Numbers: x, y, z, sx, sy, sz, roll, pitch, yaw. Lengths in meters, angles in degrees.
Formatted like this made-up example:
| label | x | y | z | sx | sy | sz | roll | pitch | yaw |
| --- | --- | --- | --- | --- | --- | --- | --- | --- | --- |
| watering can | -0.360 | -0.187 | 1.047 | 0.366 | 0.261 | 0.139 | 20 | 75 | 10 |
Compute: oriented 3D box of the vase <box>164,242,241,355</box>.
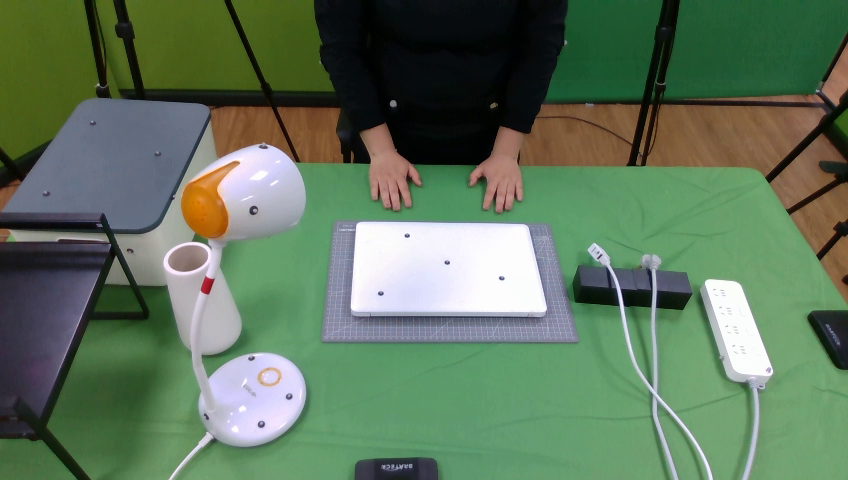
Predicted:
| label | x | y | z | sx | sy | sz | roll | pitch | yaw |
| --- | --- | --- | --- | --- | --- | --- | --- | --- | --- |
| vase | -0.349 | 0.096 | 0.954 | 0.098 | 0.201 | 0.097 | 3 | 47 | -3 |

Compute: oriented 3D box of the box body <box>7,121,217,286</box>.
| label | x | y | z | sx | sy | sz | roll | pitch | yaw |
| --- | --- | --- | --- | --- | --- | --- | --- | --- | --- |
| box body | -0.560 | -0.092 | 1.145 | 0.254 | 0.161 | 0.361 | 3 | 46 | -2 |

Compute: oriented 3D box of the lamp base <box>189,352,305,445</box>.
| label | x | y | z | sx | sy | sz | roll | pitch | yaw |
| --- | --- | --- | --- | --- | --- | --- | --- | --- | --- |
| lamp base | -0.268 | 0.196 | 0.876 | 0.160 | 0.181 | 0.179 | 26 | 52 | 20 |

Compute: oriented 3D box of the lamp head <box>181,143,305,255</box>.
| label | x | y | z | sx | sy | sz | roll | pitch | yaw |
| --- | --- | --- | --- | --- | --- | --- | --- | --- | --- |
| lamp head | -0.216 | -0.044 | 0.697 | 0.112 | 0.113 | 0.123 | 23 | 31 | 17 |

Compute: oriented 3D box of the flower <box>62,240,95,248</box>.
| label | x | y | z | sx | sy | sz | roll | pitch | yaw |
| --- | --- | --- | --- | --- | --- | --- | --- | --- | --- |
| flower | -0.557 | -0.053 | 1.195 | 0.044 | 0.038 | 0.361 | 47 | 54 | 2 |

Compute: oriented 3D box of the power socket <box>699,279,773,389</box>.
| label | x | y | z | sx | sy | sz | roll | pitch | yaw |
| --- | --- | --- | --- | --- | --- | --- | --- | --- | --- |
| power socket | 0.551 | 0.157 | 1.081 | 0.072 | 0.033 | 0.225 | 4 | 47 | 1 |

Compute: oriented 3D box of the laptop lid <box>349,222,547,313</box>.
| label | x | y | z | sx | sy | sz | roll | pitch | yaw |
| --- | --- | --- | --- | --- | --- | --- | --- | --- | --- |
| laptop lid | 0.041 | 0.046 | 1.143 | 0.357 | 0.013 | 0.240 | 2 | 43 | -3 |

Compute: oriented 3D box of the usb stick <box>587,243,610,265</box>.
| label | x | y | z | sx | sy | sz | roll | pitch | yaw |
| --- | --- | --- | --- | --- | --- | --- | --- | --- | --- |
| usb stick | 0.335 | 0.024 | 1.172 | 0.027 | 0.021 | 0.059 | 33 | 16 | -13 |

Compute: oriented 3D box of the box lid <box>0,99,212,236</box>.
| label | x | y | z | sx | sy | sz | roll | pitch | yaw |
| --- | --- | --- | --- | --- | --- | --- | --- | --- | --- |
| box lid | -0.555 | -0.143 | 1.090 | 0.263 | 0.015 | 0.369 | 2 | 46 | -1 |

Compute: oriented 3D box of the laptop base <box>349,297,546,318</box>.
| label | x | y | z | sx | sy | sz | roll | pitch | yaw |
| --- | --- | --- | --- | --- | --- | --- | --- | --- | --- |
| laptop base | 0.040 | 0.056 | 1.149 | 0.355 | 0.023 | 0.234 | 1 | 42 | -4 |

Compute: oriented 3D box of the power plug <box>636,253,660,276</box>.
| label | x | y | z | sx | sy | sz | roll | pitch | yaw |
| --- | --- | --- | --- | --- | --- | --- | --- | --- | --- |
| power plug | 0.415 | 0.050 | 1.139 | 0.035 | 0.053 | 0.072 | 47 | 48 | 10 |
